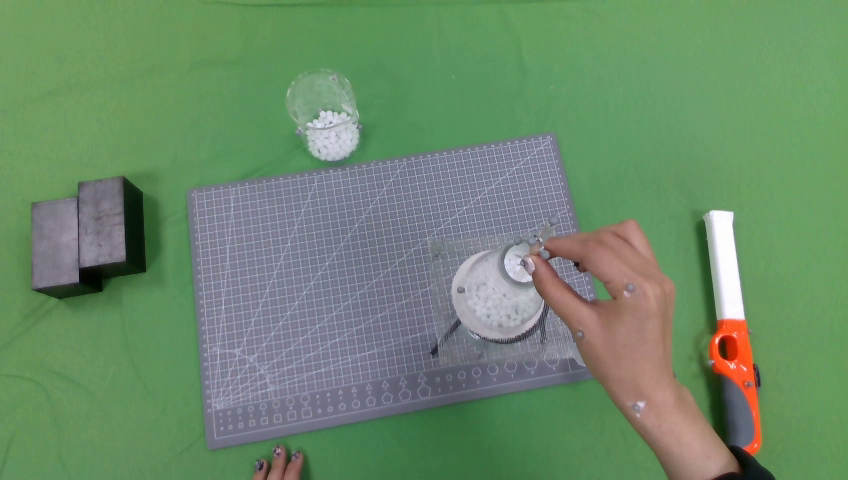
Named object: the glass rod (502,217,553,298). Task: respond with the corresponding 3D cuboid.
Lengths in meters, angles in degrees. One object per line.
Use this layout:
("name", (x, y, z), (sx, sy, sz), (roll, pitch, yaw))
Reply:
("glass rod", (0.075, 0.020, 0.460), (0.008, 0.201, 0.008), (0, 71, 0))

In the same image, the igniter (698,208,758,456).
("igniter", (0.339, 0.097, 0.680), (0.057, 0.025, 0.275), (4, 74, -11))

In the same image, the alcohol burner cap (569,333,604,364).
("alcohol burner cap", (0.180, 0.116, 0.660), (0.034, 0.048, 0.033), (0, 74, -1))

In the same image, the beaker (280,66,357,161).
("beaker", (-0.114, -0.140, 0.698), (0.084, 0.100, 0.074), (25, 76, 5))

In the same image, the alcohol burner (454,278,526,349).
("alcohol burner", (0.070, 0.074, 0.633), (0.078, 0.119, 0.077), (0, 74, 1))

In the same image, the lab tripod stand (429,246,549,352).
("lab tripod stand", (0.069, 0.070, 0.623), (0.148, 0.132, 0.147), (0, 76, -1))

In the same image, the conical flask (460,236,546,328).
("conical flask", (0.071, 0.030, 0.505), (0.075, 0.122, 0.075), (0, 76, -1))

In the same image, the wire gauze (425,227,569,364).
("wire gauze", (0.067, 0.050, 0.560), (0.125, 0.011, 0.121), (-3, 77, -4))
